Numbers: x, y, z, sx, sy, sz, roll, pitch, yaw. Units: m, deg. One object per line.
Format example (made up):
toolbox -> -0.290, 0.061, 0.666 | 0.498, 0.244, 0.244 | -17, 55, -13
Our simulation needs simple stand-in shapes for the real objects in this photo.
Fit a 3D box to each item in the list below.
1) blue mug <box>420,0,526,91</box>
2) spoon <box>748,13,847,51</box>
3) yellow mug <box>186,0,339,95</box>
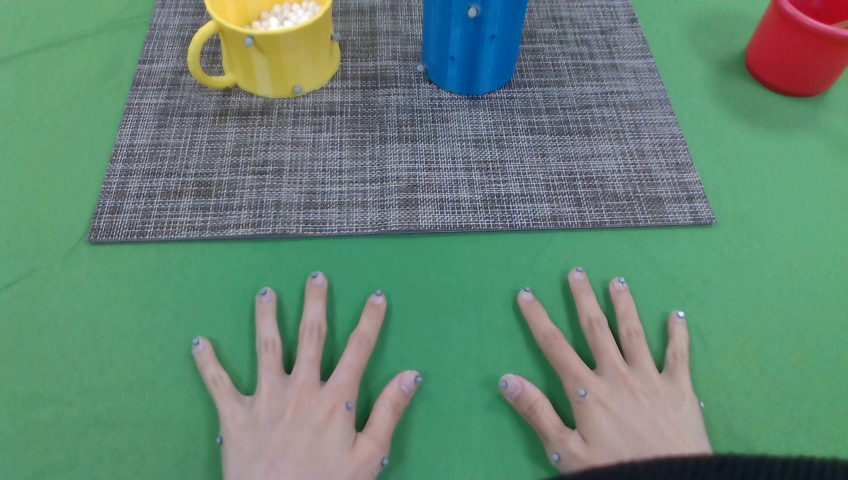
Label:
blue mug -> 0.050, -0.197, 0.494 | 0.082, 0.107, 0.116 | 37, 63, 20
spoon -> 0.360, -0.181, 0.480 | 0.041, 0.192, 0.022 | -47, 115, -29
yellow mug -> -0.134, -0.169, 0.490 | 0.131, 0.064, 0.099 | -39, 67, -23
